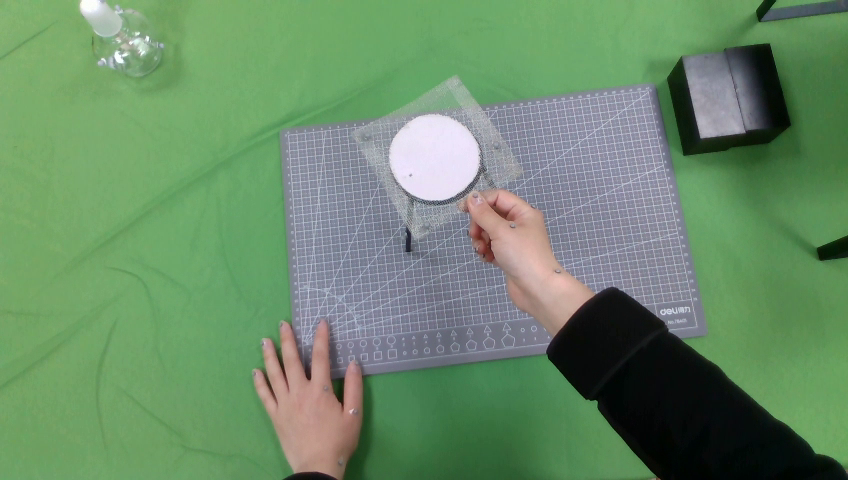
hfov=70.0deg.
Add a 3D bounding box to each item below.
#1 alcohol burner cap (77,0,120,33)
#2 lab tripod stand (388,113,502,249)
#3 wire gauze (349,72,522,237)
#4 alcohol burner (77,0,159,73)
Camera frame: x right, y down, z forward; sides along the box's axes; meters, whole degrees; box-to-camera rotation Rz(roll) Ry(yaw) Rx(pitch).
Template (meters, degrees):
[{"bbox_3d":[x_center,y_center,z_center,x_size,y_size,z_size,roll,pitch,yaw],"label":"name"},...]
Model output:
[{"bbox_3d":[-0.360,-0.254,0.664,0.034,0.048,0.033,1,78,-4],"label":"alcohol burner cap"},{"bbox_3d":[0.010,-0.067,0.635,0.148,0.132,0.147,-1,77,4],"label":"lab tripod stand"},{"bbox_3d":[0.010,-0.085,0.569,0.121,0.011,0.124,-30,79,-7],"label":"wire gauze"},{"bbox_3d":[-0.358,-0.245,0.699,0.078,0.119,0.077,0,78,2],"label":"alcohol burner"}]
